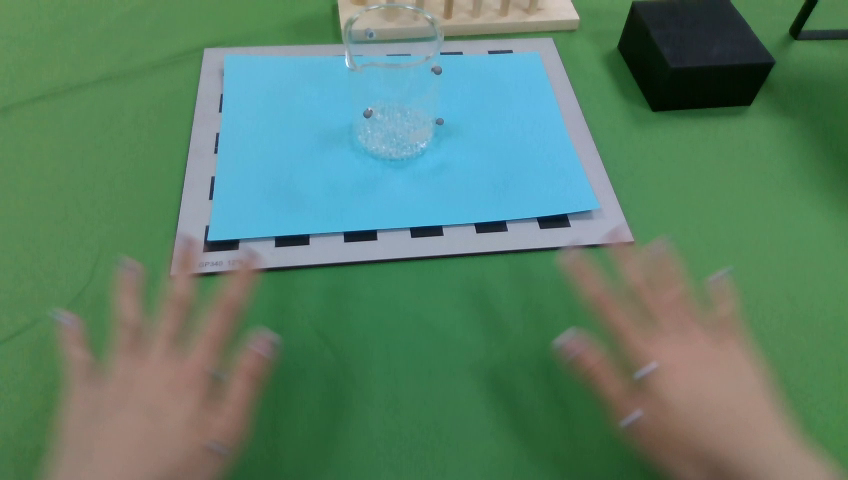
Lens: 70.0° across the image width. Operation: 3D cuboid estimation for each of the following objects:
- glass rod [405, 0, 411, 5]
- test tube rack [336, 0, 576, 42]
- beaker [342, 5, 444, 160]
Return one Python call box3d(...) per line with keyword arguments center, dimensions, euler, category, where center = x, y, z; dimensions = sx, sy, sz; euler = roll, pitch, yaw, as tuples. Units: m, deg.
box3d(center=(0.001, -0.311, 0.555), dimensions=(0.008, 0.201, 0.008), euler=(7, 48, -8), category="glass rod")
box3d(center=(0.034, -0.258, 0.601), dimensions=(0.243, 0.086, 0.066), euler=(-5, 53, -8), category="test tube rack")
box3d(center=(-0.027, -0.118, 0.479), dimensions=(0.073, 0.101, 0.084), euler=(35, 59, 21), category="beaker")
